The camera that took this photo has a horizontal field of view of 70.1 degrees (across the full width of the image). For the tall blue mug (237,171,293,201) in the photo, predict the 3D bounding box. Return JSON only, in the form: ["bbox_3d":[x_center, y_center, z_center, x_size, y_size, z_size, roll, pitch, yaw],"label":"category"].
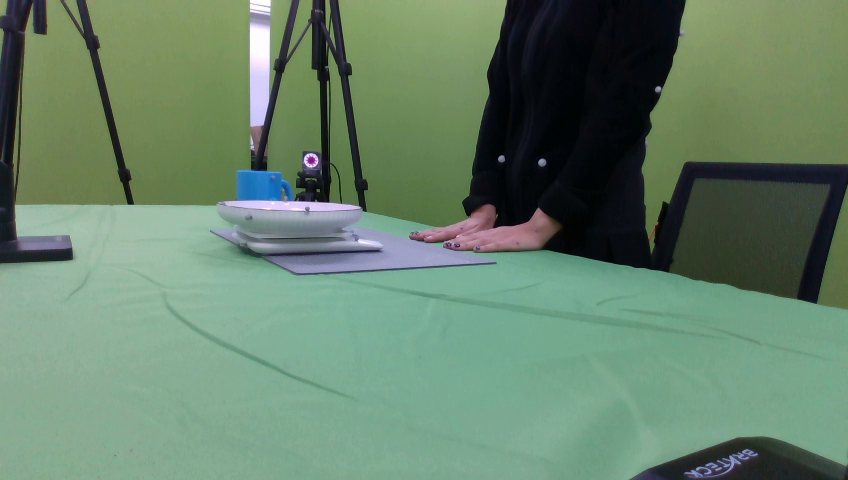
[{"bbox_3d":[-0.291,-0.070,1.091,0.078,0.108,0.107,3,8,7],"label":"tall blue mug"}]

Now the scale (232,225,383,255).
[{"bbox_3d":[-0.177,-0.004,0.920,0.202,0.031,0.148,-1,9,-30],"label":"scale"}]

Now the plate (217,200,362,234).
[{"bbox_3d":[-0.196,-0.035,0.894,0.209,0.038,0.209,2,7,0],"label":"plate"}]
